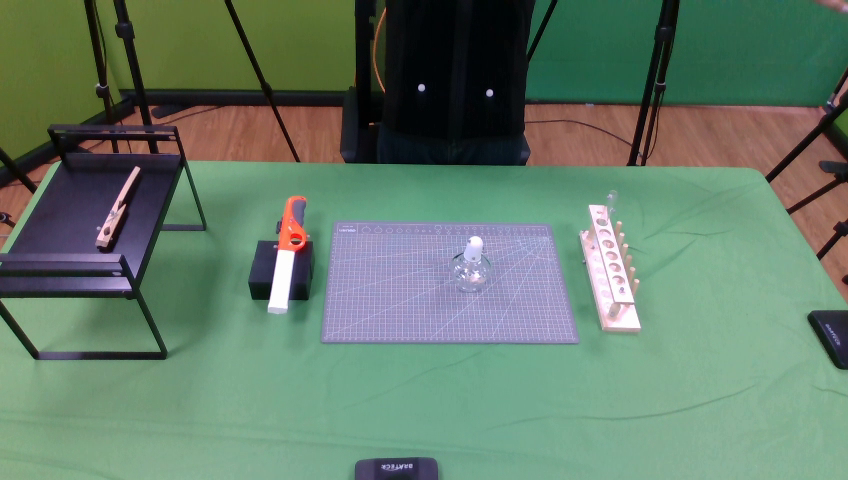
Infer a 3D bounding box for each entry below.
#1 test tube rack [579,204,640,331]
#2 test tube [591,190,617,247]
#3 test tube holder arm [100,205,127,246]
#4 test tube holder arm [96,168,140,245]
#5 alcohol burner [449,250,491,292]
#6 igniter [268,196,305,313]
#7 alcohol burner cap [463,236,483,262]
[{"bbox_3d":[0.353,0.047,1.137,0.067,0.085,0.241,2,46,-2],"label":"test tube rack"},{"bbox_3d":[0.340,-0.038,1.149,0.017,0.151,0.017,1,50,-1],"label":"test tube"},{"bbox_3d":[-0.480,-0.025,0.938,0.010,0.015,0.087,28,37,-26],"label":"test tube holder arm"},{"bbox_3d":[-0.486,-0.058,0.968,0.013,0.015,0.177,27,37,-27],"label":"test tube holder arm"},{"bbox_3d":[0.086,0.038,1.101,0.078,0.119,0.077,3,45,-2],"label":"alcohol burner"},{"bbox_3d":[-0.247,0.016,1.095,0.057,0.025,0.274,8,46,-12],"label":"igniter"},{"bbox_3d":[0.089,0.013,1.075,0.034,0.048,0.033,4,47,-4],"label":"alcohol burner cap"}]
